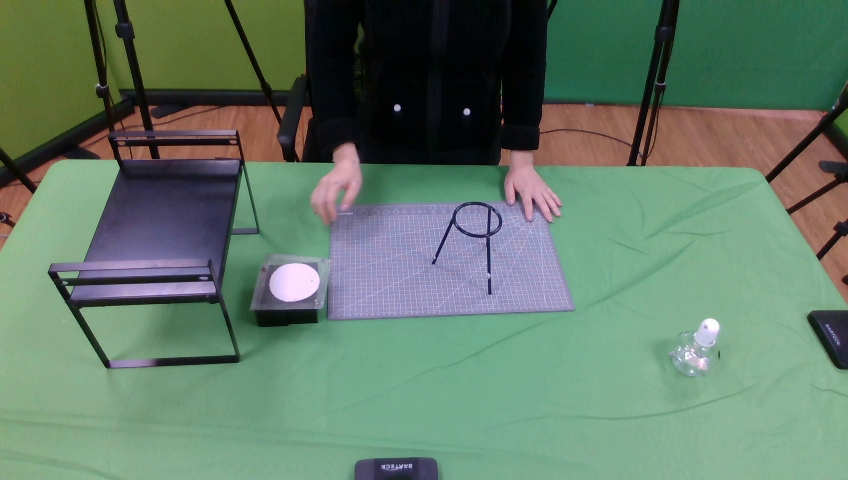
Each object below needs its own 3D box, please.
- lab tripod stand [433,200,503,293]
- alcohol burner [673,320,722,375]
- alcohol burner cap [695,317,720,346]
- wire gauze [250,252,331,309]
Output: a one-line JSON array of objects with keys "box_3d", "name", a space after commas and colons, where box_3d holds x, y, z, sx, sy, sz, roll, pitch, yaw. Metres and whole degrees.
[{"box_3d": [0.095, 0.006, 1.116, 0.148, 0.132, 0.147, 3, 46, -3], "name": "lab tripod stand"}, {"box_3d": [0.458, 0.170, 1.002, 0.078, 0.120, 0.077, 1, 45, -1], "name": "alcohol burner"}, {"box_3d": [0.459, 0.146, 0.975, 0.034, 0.048, 0.033, -3, 44, 3], "name": "alcohol burner cap"}, {"box_3d": [-0.229, 0.071, 1.052, 0.121, 0.011, 0.124, 4, 47, -2], "name": "wire gauze"}]
